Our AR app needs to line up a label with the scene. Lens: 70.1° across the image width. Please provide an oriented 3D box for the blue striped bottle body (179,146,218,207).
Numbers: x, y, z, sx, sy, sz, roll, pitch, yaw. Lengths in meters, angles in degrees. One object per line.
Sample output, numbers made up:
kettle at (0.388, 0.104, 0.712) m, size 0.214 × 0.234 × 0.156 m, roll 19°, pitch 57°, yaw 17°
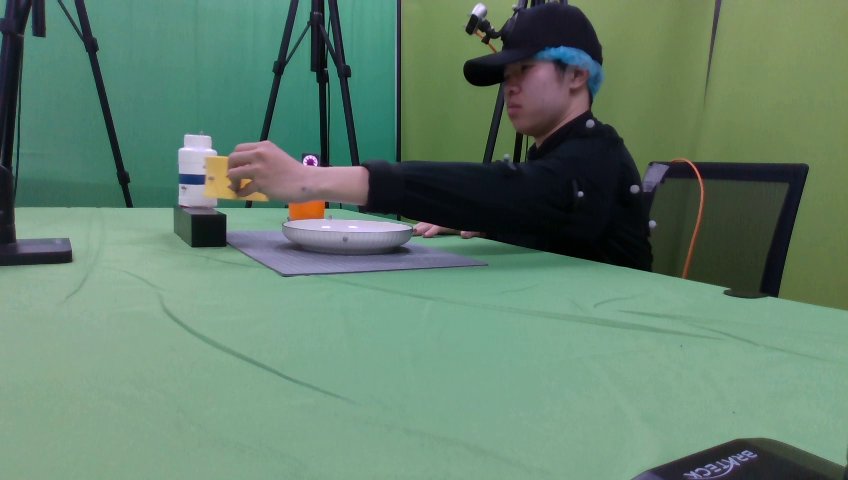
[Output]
blue striped bottle body at (-0.392, -0.119, 1.053) m, size 0.063 × 0.120 × 0.063 m, roll 2°, pitch 7°, yaw 0°

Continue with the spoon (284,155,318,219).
spoon at (-0.286, -0.122, 1.367) m, size 0.042 × 0.021 × 0.193 m, roll -6°, pitch 51°, yaw -36°

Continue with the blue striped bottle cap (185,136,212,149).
blue striped bottle cap at (-0.390, -0.169, 1.047) m, size 0.044 × 0.020 × 0.044 m, roll 4°, pitch 10°, yaw 0°

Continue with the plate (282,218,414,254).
plate at (-0.121, -0.007, 0.970) m, size 0.208 × 0.039 × 0.207 m, roll 2°, pitch 7°, yaw 0°

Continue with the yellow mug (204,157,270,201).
yellow mug at (-0.295, -0.097, 0.957) m, size 0.100 × 0.064 × 0.130 m, roll 2°, pitch 5°, yaw -20°
